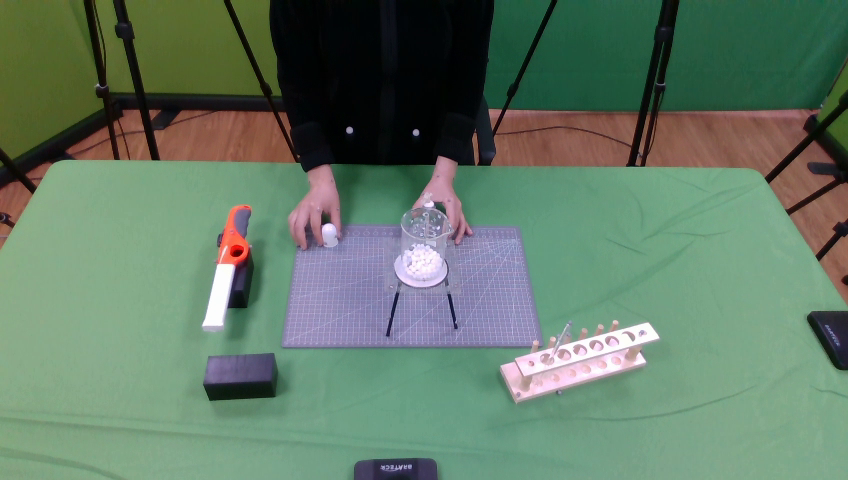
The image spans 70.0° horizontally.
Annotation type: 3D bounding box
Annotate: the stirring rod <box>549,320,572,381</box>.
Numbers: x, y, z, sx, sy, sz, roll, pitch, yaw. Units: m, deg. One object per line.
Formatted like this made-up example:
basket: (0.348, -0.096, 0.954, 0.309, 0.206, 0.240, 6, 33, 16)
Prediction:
stirring rod: (0.202, 0.167, 0.901, 0.006, 0.177, 0.014, -17, 54, -11)

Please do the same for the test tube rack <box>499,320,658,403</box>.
test tube rack: (0.252, 0.187, 0.994, 0.243, 0.085, 0.066, -12, 48, -15)

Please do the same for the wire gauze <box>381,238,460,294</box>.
wire gauze: (-0.008, 0.042, 0.985, 0.125, 0.011, 0.120, -1, 43, -2)

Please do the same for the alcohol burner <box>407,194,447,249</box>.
alcohol burner: (0.006, -0.040, 1.170, 0.078, 0.120, 0.077, 1, 46, -1)

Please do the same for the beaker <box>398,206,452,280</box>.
beaker: (0.000, 0.008, 0.950, 0.084, 0.101, 0.073, 10, 45, 6)

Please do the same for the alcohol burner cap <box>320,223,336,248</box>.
alcohol burner cap: (-0.188, -0.011, 1.176, 0.034, 0.048, 0.033, 3, 46, -2)

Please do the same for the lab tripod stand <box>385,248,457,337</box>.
lab tripod stand: (-0.010, 0.087, 1.032, 0.148, 0.132, 0.147, 1, 45, -1)

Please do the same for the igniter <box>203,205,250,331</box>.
igniter: (-0.345, 0.039, 1.065, 0.057, 0.025, 0.274, 2, 48, -6)
